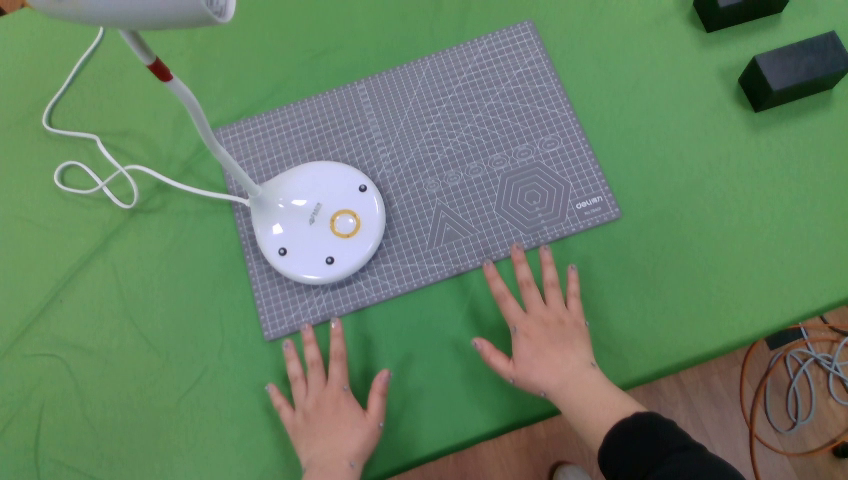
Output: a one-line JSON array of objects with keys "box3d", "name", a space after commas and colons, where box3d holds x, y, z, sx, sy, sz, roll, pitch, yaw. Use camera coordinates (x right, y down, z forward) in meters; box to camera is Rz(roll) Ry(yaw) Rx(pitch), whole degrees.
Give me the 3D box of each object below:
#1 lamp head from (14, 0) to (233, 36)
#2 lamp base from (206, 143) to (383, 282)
[{"box3d": [-0.192, -0.177, 0.371, 0.123, 0.113, 0.111, -12, 72, 8], "name": "lamp head"}, {"box3d": [-0.151, -0.050, 0.671, 0.179, 0.181, 0.160, 6, 73, 11], "name": "lamp base"}]
